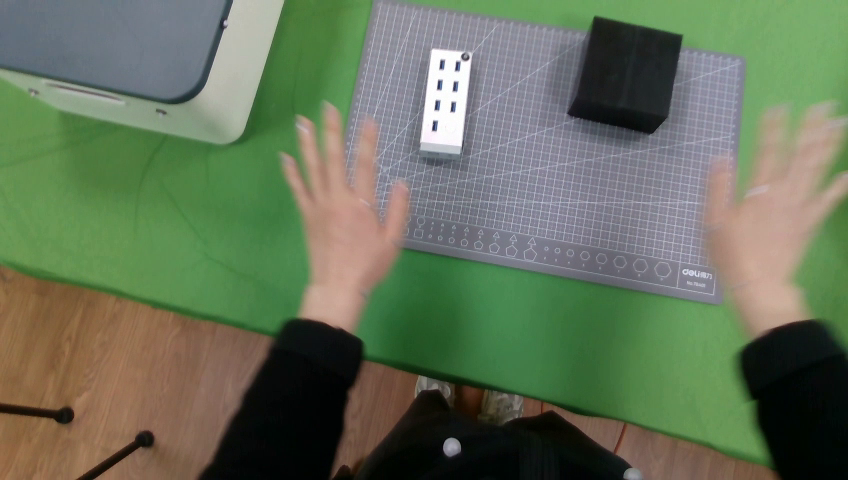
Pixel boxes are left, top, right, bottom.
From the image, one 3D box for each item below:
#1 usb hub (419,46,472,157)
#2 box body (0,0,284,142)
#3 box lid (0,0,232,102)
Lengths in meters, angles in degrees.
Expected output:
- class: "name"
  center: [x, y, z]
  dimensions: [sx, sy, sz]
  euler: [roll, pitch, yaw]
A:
- class: "usb hub"
  center: [0.025, -0.160, 0.700]
  dimensions: [0.049, 0.025, 0.124]
  euler: [6, 80, 2]
- class: "box body"
  center: [-0.293, -0.311, 0.666]
  dimensions: [0.254, 0.161, 0.363]
  euler: [13, 80, 3]
- class: "box lid"
  center: [-0.295, -0.323, 0.593]
  dimensions: [0.263, 0.015, 0.370]
  euler: [13, 80, 3]
